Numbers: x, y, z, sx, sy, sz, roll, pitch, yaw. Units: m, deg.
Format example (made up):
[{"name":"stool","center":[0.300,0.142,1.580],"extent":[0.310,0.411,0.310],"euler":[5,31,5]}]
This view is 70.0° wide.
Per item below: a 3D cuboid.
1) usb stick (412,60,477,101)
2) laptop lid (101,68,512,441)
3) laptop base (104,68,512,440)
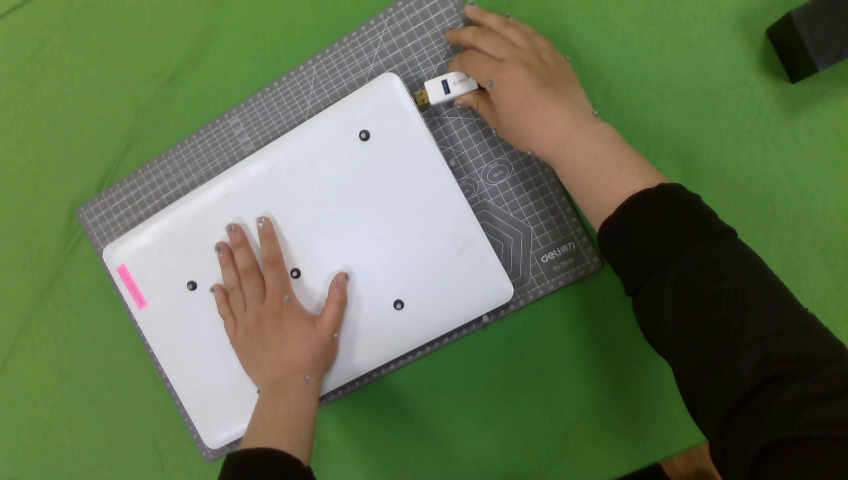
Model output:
[{"name":"usb stick","center":[0.016,-0.138,0.535],"extent":[0.059,0.027,0.021],"euler":[-17,96,12]},{"name":"laptop lid","center":[-0.123,0.027,0.576],"extent":[0.356,0.013,0.242],"euler":[-27,93,13]},{"name":"laptop base","center":[-0.121,0.024,0.587],"extent":[0.354,0.023,0.235],"euler":[-29,93,13]}]
